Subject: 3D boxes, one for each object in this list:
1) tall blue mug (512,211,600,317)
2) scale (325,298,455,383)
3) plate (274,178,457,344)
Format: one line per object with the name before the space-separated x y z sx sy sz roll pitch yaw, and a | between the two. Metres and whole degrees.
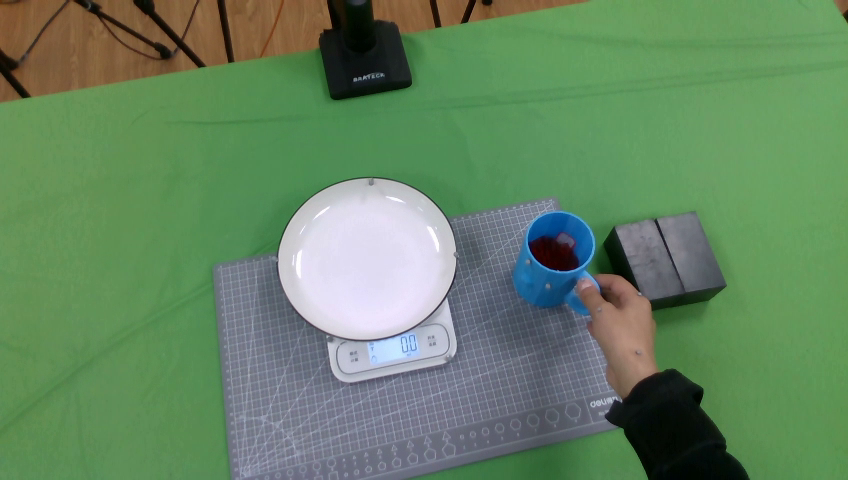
tall blue mug | 0.160 0.032 0.701 0.107 0.109 0.077 24 67 11
scale | -0.051 0.062 0.730 0.149 0.032 0.199 -10 67 -4
plate | -0.066 0.025 0.710 0.209 0.038 0.207 1 65 -1
